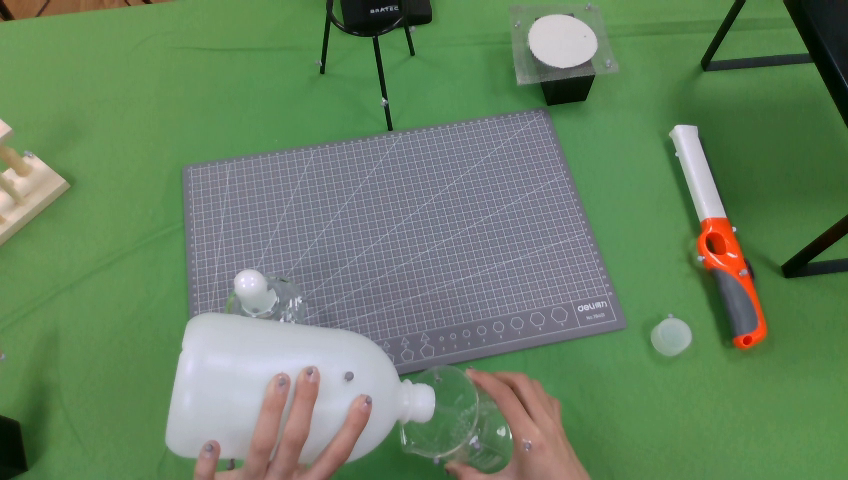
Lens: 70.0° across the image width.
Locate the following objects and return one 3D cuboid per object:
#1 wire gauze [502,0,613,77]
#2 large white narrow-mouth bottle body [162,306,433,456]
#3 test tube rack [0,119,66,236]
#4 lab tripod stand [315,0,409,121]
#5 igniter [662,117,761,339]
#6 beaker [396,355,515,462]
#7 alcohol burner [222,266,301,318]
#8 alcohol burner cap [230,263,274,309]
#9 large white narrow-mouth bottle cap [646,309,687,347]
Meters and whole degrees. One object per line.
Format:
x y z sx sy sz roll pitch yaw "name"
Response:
0.162 -0.255 0.747 0.121 0.011 0.124 -4 65 -3 "wire gauze"
-0.087 0.111 0.462 0.196 0.102 0.101 10 63 -19 "large white narrow-mouth bottle body"
-0.514 -0.020 0.631 0.066 0.086 0.242 35 69 14 "test tube rack"
-0.066 -0.236 0.718 0.148 0.132 0.147 1 65 -3 "lab tripod stand"
0.322 -0.022 0.685 0.057 0.025 0.274 -1 65 -13 "igniter"
0.030 0.155 0.532 0.084 0.101 0.073 -46 50 2 "beaker"
-0.160 0.055 0.587 0.078 0.120 0.077 1 63 -2 "alcohol burner"
-0.160 0.040 0.554 0.034 0.048 0.033 -1 60 2 "alcohol burner cap"
0.253 0.092 0.635 0.038 0.024 0.037 1 64 -1 "large white narrow-mouth bottle cap"
